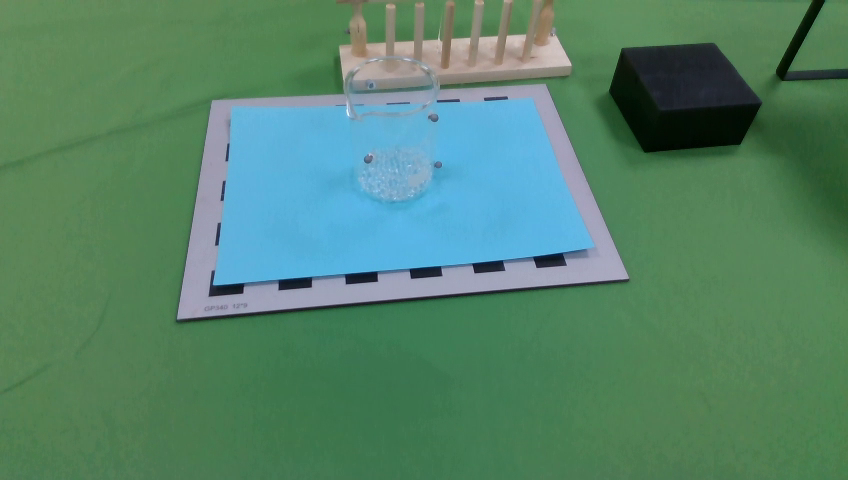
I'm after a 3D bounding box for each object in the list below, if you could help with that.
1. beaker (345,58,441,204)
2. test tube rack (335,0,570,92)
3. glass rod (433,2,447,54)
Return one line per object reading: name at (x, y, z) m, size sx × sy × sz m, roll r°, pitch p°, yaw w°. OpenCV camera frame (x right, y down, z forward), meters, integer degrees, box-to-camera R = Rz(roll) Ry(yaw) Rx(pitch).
beaker at (-0.028, -0.085, 0.500) m, size 0.073 × 0.101 × 0.084 m, roll 33°, pitch 56°, yaw 24°
test tube rack at (0.033, -0.216, 0.629) m, size 0.243 × 0.086 × 0.066 m, roll -6°, pitch 50°, yaw -7°
glass rod at (0.026, -0.267, 0.584) m, size 0.008 × 0.201 × 0.008 m, roll 5°, pitch 51°, yaw -6°
